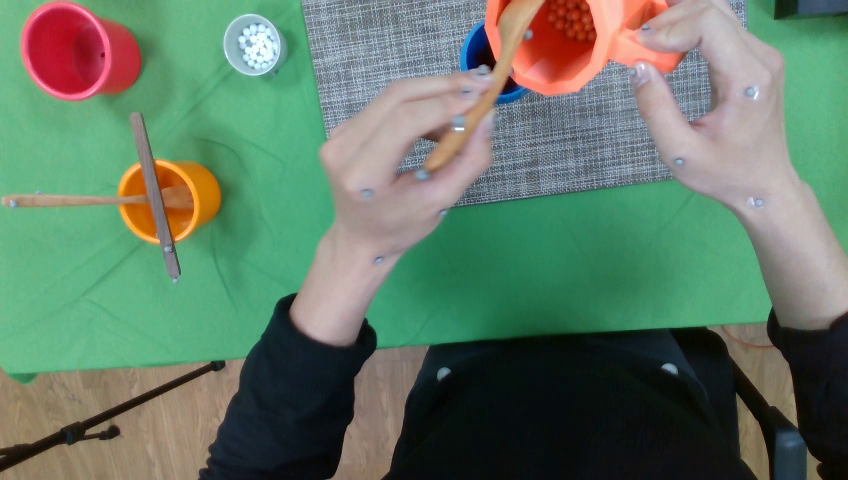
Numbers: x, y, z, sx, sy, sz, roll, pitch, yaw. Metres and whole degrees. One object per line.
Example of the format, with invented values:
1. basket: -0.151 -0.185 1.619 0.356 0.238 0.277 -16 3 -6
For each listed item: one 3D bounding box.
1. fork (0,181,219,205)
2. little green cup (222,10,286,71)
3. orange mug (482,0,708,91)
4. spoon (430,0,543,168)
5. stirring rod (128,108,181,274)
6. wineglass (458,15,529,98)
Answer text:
1. fork: -0.324 -0.048 0.643 0.208 0.018 0.028 -5 115 -38
2. little green cup: -0.178 -0.210 0.646 0.061 0.038 0.062 1 104 6
3. orange mug: 0.113 -0.152 0.395 0.125 0.100 0.084 32 145 25
4. spoon: 0.044 -0.102 0.344 0.041 0.192 0.022 -15 129 40
5. stirring rod: -0.282 -0.049 0.636 0.014 0.006 0.177 -7 103 9
6. wineglass: 0.069 -0.167 0.560 0.073 0.171 0.074 1 103 6
